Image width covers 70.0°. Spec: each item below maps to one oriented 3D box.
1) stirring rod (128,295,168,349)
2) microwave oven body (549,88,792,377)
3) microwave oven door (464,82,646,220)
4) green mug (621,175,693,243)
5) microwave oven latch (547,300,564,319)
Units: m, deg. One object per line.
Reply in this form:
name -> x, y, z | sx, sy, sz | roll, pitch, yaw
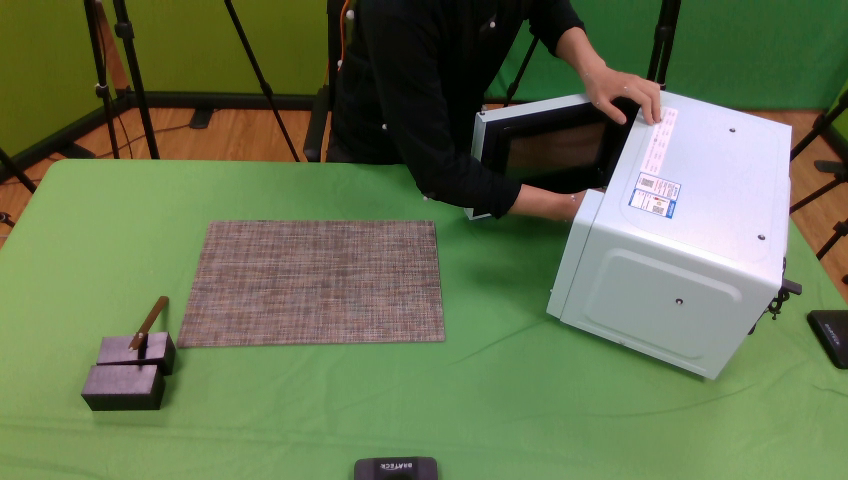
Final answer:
stirring rod -> -0.451, 0.131, 0.996 | 0.014, 0.006, 0.175 | 8, 21, -10
microwave oven body -> 0.456, -0.028, 1.088 | 0.325, 0.261, 0.440 | 20, 47, 16
microwave oven door -> 0.259, -0.177, 1.208 | 0.356, 0.245, 0.039 | -14, 48, -16
green mug -> 0.428, -0.054, 1.131 | 0.125, 0.105, 0.092 | -8, 47, -13
microwave oven latch -> 0.242, 0.102, 1.081 | 0.030, 0.029, 0.079 | 22, 48, 17
